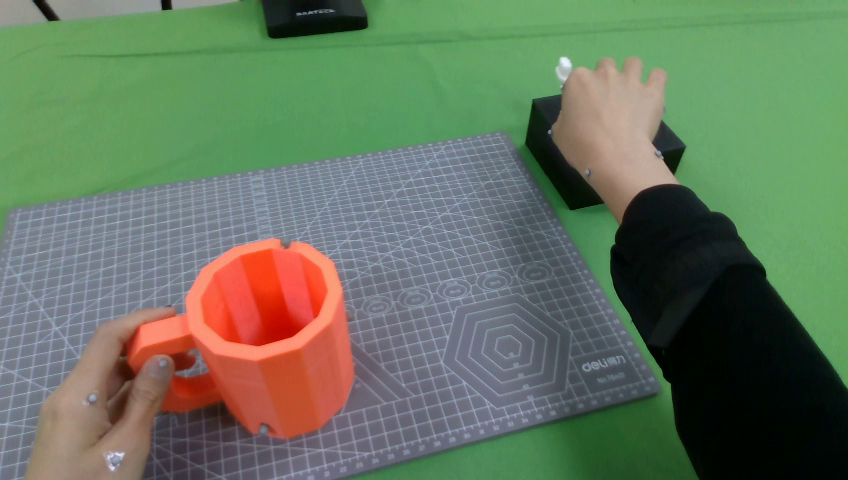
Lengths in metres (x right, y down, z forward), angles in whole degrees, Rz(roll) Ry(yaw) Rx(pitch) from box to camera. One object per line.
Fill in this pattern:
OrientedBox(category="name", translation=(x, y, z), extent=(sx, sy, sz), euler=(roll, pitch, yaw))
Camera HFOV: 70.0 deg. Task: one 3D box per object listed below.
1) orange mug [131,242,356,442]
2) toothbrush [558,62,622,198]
OrientedBox(category="orange mug", translation=(-0.106, 0.068, 0.373), extent=(0.126, 0.101, 0.082), euler=(-11, 49, -17))
OrientedBox(category="toothbrush", translation=(0.143, -0.102, 0.529), extent=(0.014, 0.017, 0.180), euler=(-1, 48, -6))
